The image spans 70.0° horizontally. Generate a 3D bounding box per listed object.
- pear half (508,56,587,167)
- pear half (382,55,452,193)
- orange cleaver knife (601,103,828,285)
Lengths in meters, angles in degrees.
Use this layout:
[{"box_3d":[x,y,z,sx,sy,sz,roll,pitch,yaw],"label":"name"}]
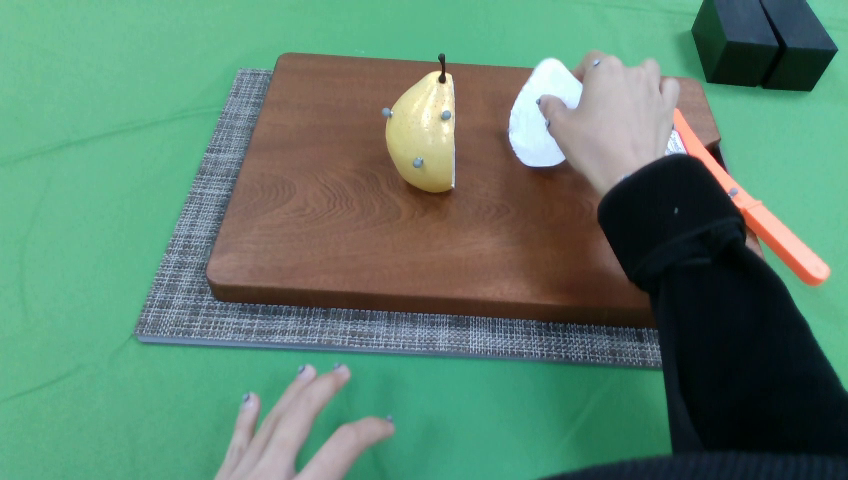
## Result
[{"box_3d":[0.103,-0.102,0.491,0.070,0.031,0.088,-3,84,35],"label":"pear half"},{"box_3d":[-0.003,-0.088,0.443,0.056,0.111,0.075,-2,48,-4],"label":"pear half"},{"box_3d":[0.220,-0.043,0.478,0.077,0.012,0.209,-18,57,-21],"label":"orange cleaver knife"}]
